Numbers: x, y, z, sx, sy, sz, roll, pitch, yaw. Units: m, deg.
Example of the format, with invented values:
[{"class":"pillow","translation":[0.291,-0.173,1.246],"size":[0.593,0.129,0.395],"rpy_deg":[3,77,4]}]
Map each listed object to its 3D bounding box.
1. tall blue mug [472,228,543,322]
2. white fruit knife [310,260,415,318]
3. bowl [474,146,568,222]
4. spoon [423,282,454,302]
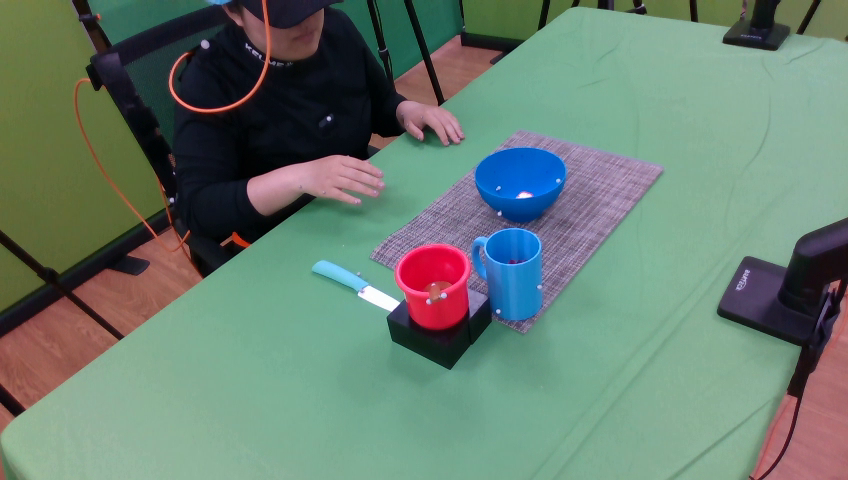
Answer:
[{"class":"tall blue mug","translation":[0.110,0.046,0.832],"size":[0.107,0.108,0.077],"rpy_deg":[6,43,18]},{"class":"white fruit knife","translation":[-0.094,0.074,0.920],"size":[0.206,0.016,0.027],"rpy_deg":[23,77,31]},{"class":"bowl","translation":[0.161,-0.083,1.001],"size":[0.151,0.077,0.150],"rpy_deg":[-5,40,5]},{"class":"spoon","translation":[0.015,0.062,0.733],"size":[0.041,0.021,0.194],"rpy_deg":[-6,-4,3]}]
